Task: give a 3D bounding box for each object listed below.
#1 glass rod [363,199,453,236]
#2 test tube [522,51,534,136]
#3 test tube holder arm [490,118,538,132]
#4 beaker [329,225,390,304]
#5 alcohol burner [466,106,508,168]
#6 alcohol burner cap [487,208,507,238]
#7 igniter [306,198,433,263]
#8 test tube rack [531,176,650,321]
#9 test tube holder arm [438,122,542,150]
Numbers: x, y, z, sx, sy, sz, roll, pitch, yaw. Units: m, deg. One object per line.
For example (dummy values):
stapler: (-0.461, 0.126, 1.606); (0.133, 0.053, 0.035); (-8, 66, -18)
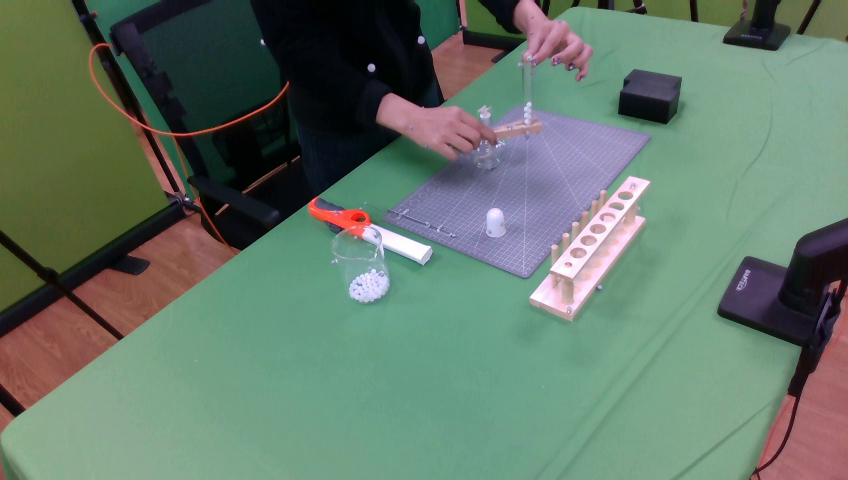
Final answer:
glass rod: (-0.031, -0.041, 1.041); (0.198, 0.008, 0.008); (22, 50, 31)
test tube: (0.164, -0.227, 0.951); (0.017, 0.151, 0.017); (-5, 46, 6)
test tube holder arm: (0.147, -0.183, 0.990); (0.088, 0.015, 0.010); (-19, 39, -21)
beaker: (-0.089, 0.040, 0.890); (0.074, 0.101, 0.083); (-32, 46, -24)
alcohol burner: (0.115, -0.193, 1.112); (0.078, 0.119, 0.077); (-4, 41, 4)
alcohol burner cap: (0.116, -0.030, 0.975); (0.034, 0.048, 0.033); (-6, 40, 5)
igniter: (-0.101, -0.020, 1.019); (0.274, 0.025, 0.057); (22, 59, 32)
test tube rack: (0.246, 0.002, 0.884); (0.066, 0.085, 0.243); (22, 49, 32)
test tube holder arm: (0.108, -0.168, 0.973); (0.179, 0.015, 0.013); (-14, 37, -14)
